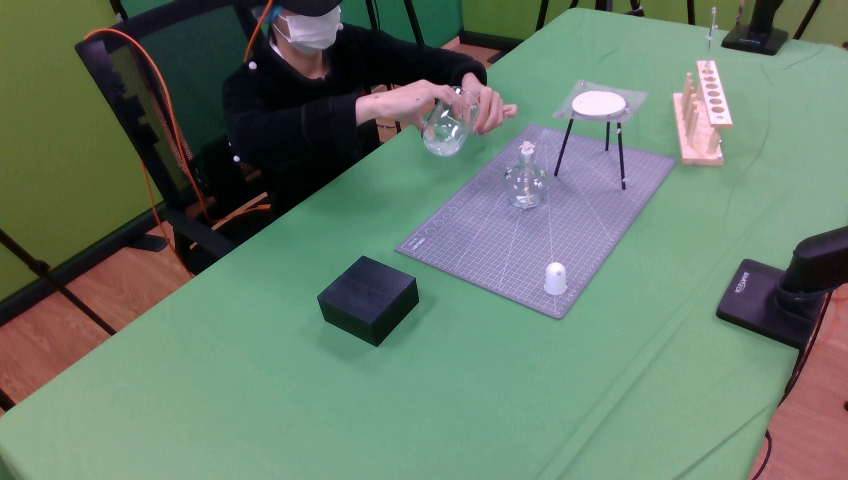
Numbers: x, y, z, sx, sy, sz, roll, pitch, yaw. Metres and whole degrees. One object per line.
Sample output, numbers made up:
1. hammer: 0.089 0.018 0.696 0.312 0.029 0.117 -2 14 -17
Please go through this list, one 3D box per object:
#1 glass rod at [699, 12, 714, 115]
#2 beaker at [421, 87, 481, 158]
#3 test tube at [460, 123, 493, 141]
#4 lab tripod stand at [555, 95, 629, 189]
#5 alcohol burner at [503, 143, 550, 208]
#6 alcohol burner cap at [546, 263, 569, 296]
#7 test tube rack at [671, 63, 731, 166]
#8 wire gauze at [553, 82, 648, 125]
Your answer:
1. glass rod: 0.525 -0.323 1.124 0.008 0.201 0.008 -8 38 6
2. beaker: 0.043 -0.188 0.987 0.073 0.084 0.100 6 49 26
3. test tube: 0.098 -0.198 1.108 0.017 0.017 0.151 12 7 23
4. lab tripod stand: 0.300 -0.174 1.045 0.148 0.132 0.147 -5 38 5
5. alcohol burner: 0.171 -0.112 1.006 0.078 0.119 0.077 -3 41 3
6. alcohol burner cap: 0.191 0.053 0.862 0.034 0.048 0.033 -5 40 4
7. test tube rack: 0.513 -0.241 1.132 0.066 0.085 0.242 4 41 14
8. wire gauze: 0.293 -0.225 1.002 0.120 0.011 0.125 17 45 27
